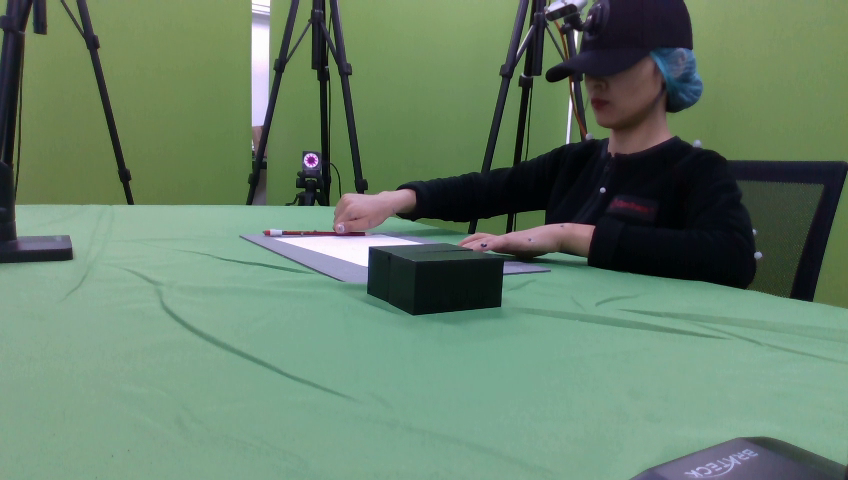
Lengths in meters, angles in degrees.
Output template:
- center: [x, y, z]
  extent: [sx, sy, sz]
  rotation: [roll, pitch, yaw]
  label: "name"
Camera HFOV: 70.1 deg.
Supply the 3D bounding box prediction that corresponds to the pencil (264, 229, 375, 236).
- center: [-0.180, -0.012, 1.058]
  extent: [0.195, 0.012, 0.012]
  rotation: [1, 7, -21]
  label: "pencil"
